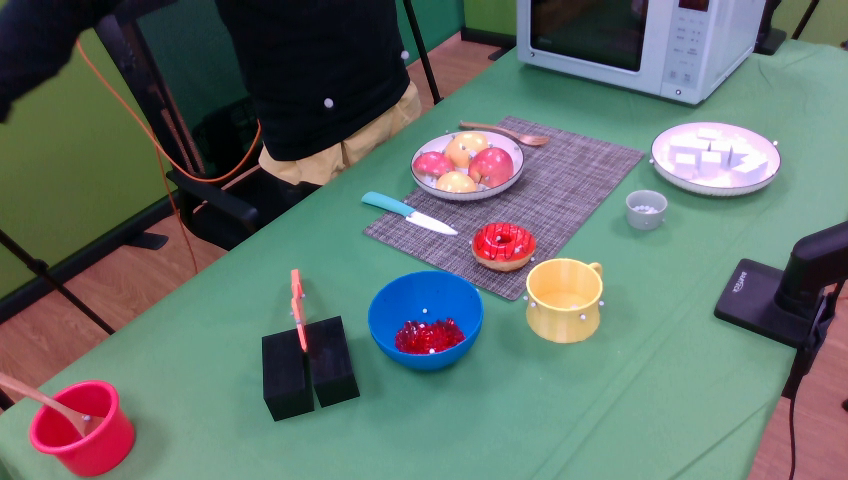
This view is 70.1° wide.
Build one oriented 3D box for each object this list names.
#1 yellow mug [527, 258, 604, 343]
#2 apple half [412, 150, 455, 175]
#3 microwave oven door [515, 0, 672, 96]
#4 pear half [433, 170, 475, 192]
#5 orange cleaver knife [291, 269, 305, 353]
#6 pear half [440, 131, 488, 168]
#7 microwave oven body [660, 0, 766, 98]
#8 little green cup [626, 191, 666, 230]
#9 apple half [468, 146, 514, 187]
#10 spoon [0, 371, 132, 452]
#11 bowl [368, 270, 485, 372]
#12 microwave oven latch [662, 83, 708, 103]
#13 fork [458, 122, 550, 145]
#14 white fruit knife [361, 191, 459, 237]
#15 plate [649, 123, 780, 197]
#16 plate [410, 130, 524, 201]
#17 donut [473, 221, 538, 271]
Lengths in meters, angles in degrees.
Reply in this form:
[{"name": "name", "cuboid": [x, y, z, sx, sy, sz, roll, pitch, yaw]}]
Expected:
[{"name": "yellow mug", "cuboid": [0.201, 0.073, 0.824, 0.131, 0.064, 0.099, -32, 46, -27]}, {"name": "apple half", "cuboid": [0.022, -0.144, 1.097, 0.081, 0.033, 0.081, 7, 23, -3]}, {"name": "microwave oven door", "cuboid": [0.343, -0.454, 1.259, 0.353, 0.245, 0.039, 26, 51, 33]}, {"name": "pear half", "cuboid": [0.052, -0.105, 1.052, 0.071, 0.031, 0.087, -5, 33, -30]}, {"name": "orange cleaver knife", "cuboid": [-0.175, 0.093, 0.844, 0.012, 0.077, 0.210, -11, 15, -10]}, {"name": "pear half", "cuboid": [0.064, -0.173, 1.129, 0.110, 0.056, 0.076, -6, 36, 5]}, {"name": "microwave oven body", "cuboid": [0.472, -0.513, 1.317, 0.438, 0.261, 0.327, 26, 51, 34]}, {"name": "little green cup", "cuboid": [0.352, -0.046, 0.963, 0.061, 0.039, 0.061, -4, 40, 4]}, {"name": "apple half", "cuboid": [0.119, -0.137, 1.073, 0.080, 0.053, 0.075, 25, 49, 38]}, {"name": "spoon", "cuboid": [-0.439, 0.195, 0.715, 0.195, 0.021, 0.041, 38, 41, -16]}, {"name": "bowl", "cuboid": [0.007, 0.118, 0.791, 0.151, 0.077, 0.150, -5, 40, 4]}, {"name": "microwave oven latch", "cuboid": [0.517, -0.296, 1.204, 0.078, 0.029, 0.030, 27, 52, 35]}, {"name": "fork", "cuboid": [0.154, -0.215, 1.204, 0.206, 0.019, 0.028, 20, 57, 29]}, {"name": "white fruit knife", "cuboid": [-0.025, -0.045, 1.033, 0.206, 0.016, 0.027, 24, 80, 29]}, {"name": "plate", "cuboid": [0.497, -0.135, 1.046, 0.207, 0.039, 0.206, -4, 40, 4]}, {"name": "plate", "cuboid": [0.078, -0.133, 1.101, 0.209, 0.038, 0.208, -4, 40, 4]}, {"name": "donut", "cuboid": [0.123, 0.008, 0.923, 0.099, 0.048, 0.098, -3, 38, 3]}]
